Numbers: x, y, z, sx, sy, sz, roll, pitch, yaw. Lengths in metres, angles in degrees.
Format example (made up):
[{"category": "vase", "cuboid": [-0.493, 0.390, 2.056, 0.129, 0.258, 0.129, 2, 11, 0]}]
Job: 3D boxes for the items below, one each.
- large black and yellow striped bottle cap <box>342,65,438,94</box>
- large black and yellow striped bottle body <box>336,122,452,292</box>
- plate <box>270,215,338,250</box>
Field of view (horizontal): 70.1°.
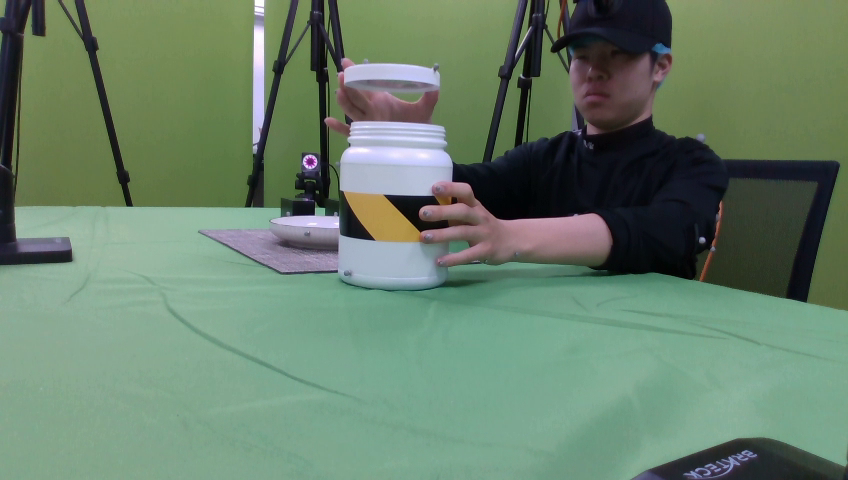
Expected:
[{"category": "large black and yellow striped bottle cap", "cuboid": [-0.040, -0.191, 0.725, 0.115, 0.019, 0.115, 2, 6, 0]}, {"category": "large black and yellow striped bottle body", "cuboid": [-0.034, -0.041, 0.703, 0.131, 0.184, 0.130, 3, 7, 0]}, {"category": "plate", "cuboid": [-0.146, -0.013, 0.991, 0.208, 0.039, 0.207, 2, 7, 0]}]
